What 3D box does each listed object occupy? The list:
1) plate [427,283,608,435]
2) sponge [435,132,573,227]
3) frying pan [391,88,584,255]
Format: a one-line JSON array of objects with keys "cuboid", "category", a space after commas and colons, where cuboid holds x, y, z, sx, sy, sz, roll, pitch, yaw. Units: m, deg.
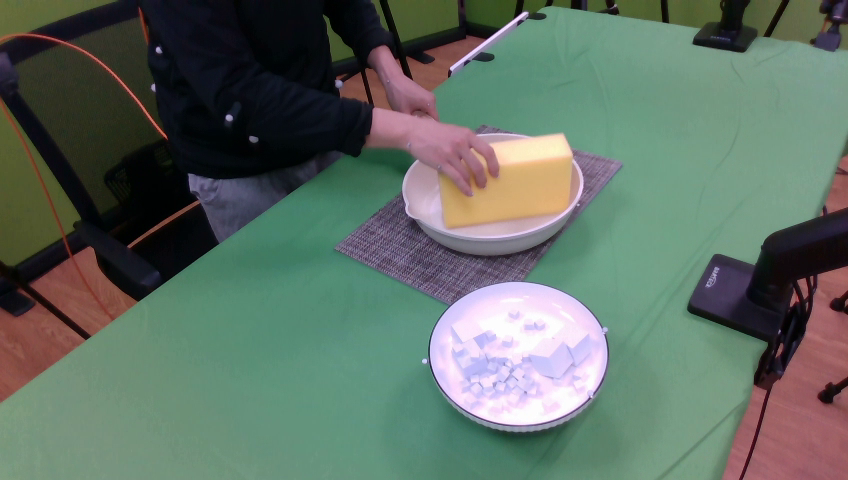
[{"cuboid": [0.108, 0.137, 0.708, 0.207, 0.039, 0.206, -4, 42, 4], "category": "plate"}, {"cuboid": [0.127, -0.095, 0.966, 0.207, 0.119, 0.060, -8, 46, -2], "category": "sponge"}, {"cuboid": [0.063, -0.143, 1.056, 0.308, 0.103, 0.483, -22, 51, -18], "category": "frying pan"}]
